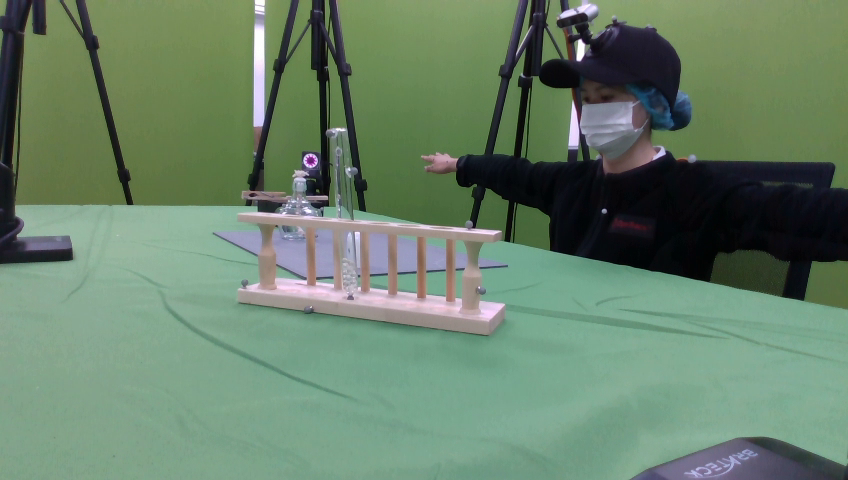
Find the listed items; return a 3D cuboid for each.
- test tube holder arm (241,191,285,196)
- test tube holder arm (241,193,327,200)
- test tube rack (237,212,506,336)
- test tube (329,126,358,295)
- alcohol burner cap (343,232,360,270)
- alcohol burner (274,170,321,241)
[{"bbox_3d":[-0.328,-0.095,1.238,0.088,0.010,0.015,-2,7,-29],"label":"test tube holder arm"},{"bbox_3d":[-0.289,-0.091,1.261,0.179,0.013,0.015,-3,7,-29],"label":"test tube holder arm"},{"bbox_3d":[-0.049,0.024,0.552,0.242,0.085,0.067,5,8,19],"label":"test tube rack"},{"bbox_3d":[-0.071,-0.025,0.535,0.017,0.150,0.017,-3,8,1],"label":"test tube"},{"bbox_3d":[-0.087,0.013,0.776,0.034,0.048,0.034,3,7,0],"label":"alcohol burner cap"},{"bbox_3d":[-0.212,-0.058,1.015,0.078,0.119,0.078,4,5,0],"label":"alcohol burner"}]
